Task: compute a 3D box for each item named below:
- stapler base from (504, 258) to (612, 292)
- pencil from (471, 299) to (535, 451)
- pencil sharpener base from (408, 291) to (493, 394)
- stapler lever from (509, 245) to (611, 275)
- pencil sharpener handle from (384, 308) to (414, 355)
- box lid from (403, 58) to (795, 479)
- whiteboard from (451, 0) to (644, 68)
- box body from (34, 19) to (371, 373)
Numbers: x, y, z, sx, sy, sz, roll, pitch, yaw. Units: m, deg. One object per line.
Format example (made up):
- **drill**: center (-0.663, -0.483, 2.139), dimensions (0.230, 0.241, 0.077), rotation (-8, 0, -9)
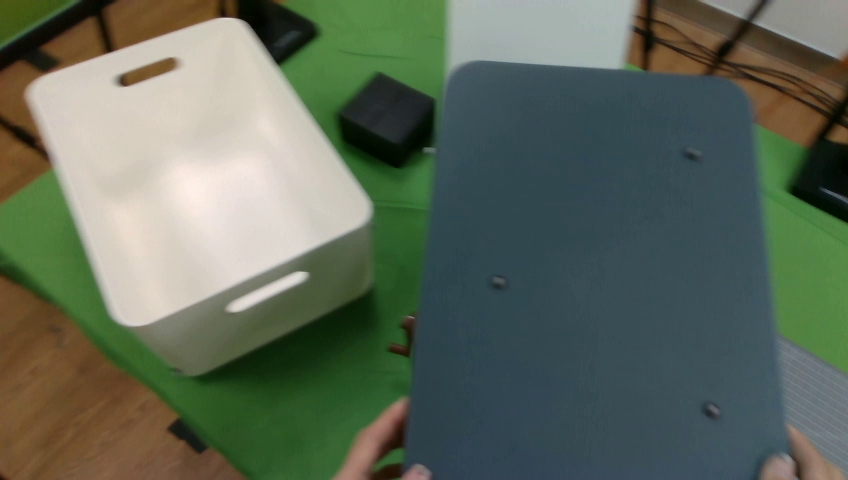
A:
- **stapler base**: center (0.163, 0.038, 0.735), dimensions (0.130, 0.024, 0.041), rotation (2, 53, 3)
- **pencil**: center (0.092, 0.143, 0.673), dimensions (0.012, 0.012, 0.193), rotation (21, 59, 12)
- **pencil sharpener base**: center (0.025, 0.109, 0.637), dimensions (0.076, 0.108, 0.061), rotation (14, 58, 8)
- **stapler lever**: center (0.161, 0.024, 0.714), dimensions (0.118, 0.040, 0.026), rotation (2, 53, 3)
- **pencil sharpener handle**: center (-0.025, 0.094, 0.630), dimensions (0.030, 0.068, 0.036), rotation (14, 40, 8)
- **box lid**: center (0.127, 0.020, 0.459), dimensions (0.263, 0.015, 0.369), rotation (4, 69, 0)
- **whiteboard**: center (0.147, -0.261, 0.799), dimensions (0.217, 0.308, 0.142), rotation (4, 38, 1)
- **box body**: center (-0.244, -0.059, 0.703), dimensions (0.254, 0.162, 0.360), rotation (-26, 62, -17)
